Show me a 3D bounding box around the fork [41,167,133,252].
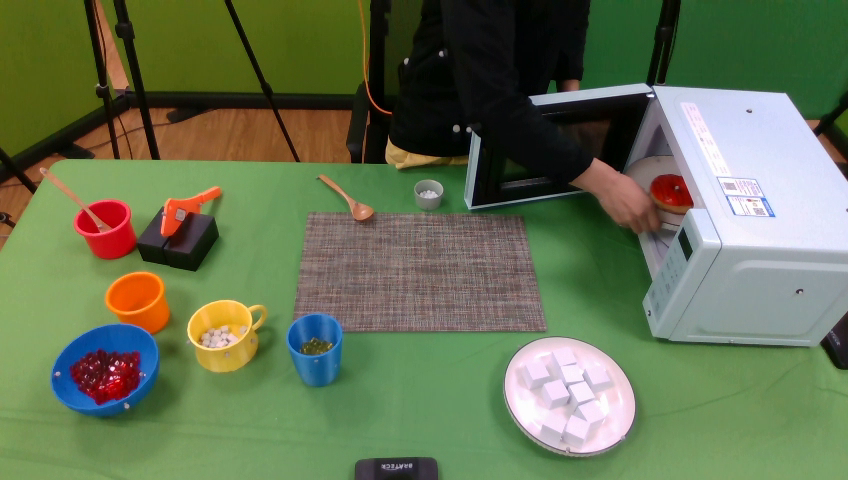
[{"bbox_3d":[-0.624,-0.055,1.121,0.208,0.018,0.028,50,51,-15],"label":"fork"}]

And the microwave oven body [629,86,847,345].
[{"bbox_3d":[0.568,-0.053,1.118,0.326,0.261,0.439,2,45,-1],"label":"microwave oven body"}]

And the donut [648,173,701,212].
[{"bbox_3d":[0.485,-0.092,1.175,0.099,0.048,0.098,1,44,-1],"label":"donut"}]

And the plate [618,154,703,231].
[{"bbox_3d":[0.483,-0.088,1.186,0.209,0.038,0.208,2,47,-2],"label":"plate"}]

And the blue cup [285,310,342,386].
[{"bbox_3d":[-0.169,0.179,0.958,0.093,0.101,0.092,1,44,-1],"label":"blue cup"}]

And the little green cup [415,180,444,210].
[{"bbox_3d":[0.010,-0.094,1.278,0.061,0.039,0.061,3,49,-3],"label":"little green cup"}]

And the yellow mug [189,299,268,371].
[{"bbox_3d":[-0.316,0.148,1.002,0.131,0.064,0.099,-32,56,-31],"label":"yellow mug"}]

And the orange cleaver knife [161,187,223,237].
[{"bbox_3d":[-0.448,-0.058,1.181,0.012,0.077,0.211,13,17,6],"label":"orange cleaver knife"}]

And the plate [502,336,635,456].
[{"bbox_3d":[0.225,0.248,0.963,0.208,0.039,0.206,2,46,-2],"label":"plate"}]

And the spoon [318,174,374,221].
[{"bbox_3d":[-0.168,-0.095,1.274,0.041,0.022,0.192,-39,56,-14],"label":"spoon"}]

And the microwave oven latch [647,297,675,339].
[{"bbox_3d":[0.413,0.134,1.061,0.030,0.029,0.078,5,45,2],"label":"microwave oven latch"}]

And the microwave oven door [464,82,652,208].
[{"bbox_3d":[0.264,-0.189,1.221,0.356,0.245,0.039,-9,48,-13],"label":"microwave oven door"}]

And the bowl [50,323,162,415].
[{"bbox_3d":[-0.472,0.209,0.924,0.151,0.077,0.150,2,45,-2],"label":"bowl"}]
